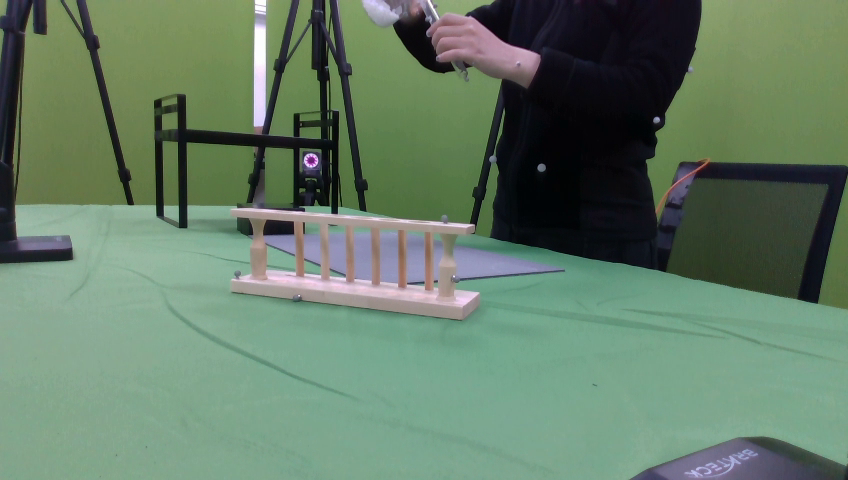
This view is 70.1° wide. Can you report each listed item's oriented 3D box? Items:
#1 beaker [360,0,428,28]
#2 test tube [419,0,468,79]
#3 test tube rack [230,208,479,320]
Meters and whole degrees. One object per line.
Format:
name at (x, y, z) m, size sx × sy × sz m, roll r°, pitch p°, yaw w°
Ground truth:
beaker at (-0.045, -0.390, 0.965) m, size 0.100 × 0.084 × 0.074 m, roll -22°, pitch -13°, yaw 35°
test tube at (0.029, -0.304, 0.910) m, size 0.017 × 0.150 × 0.017 m, roll -23°, pitch -17°, yaw -7°
test tube rack at (-0.069, 0.017, 0.598) m, size 0.242 × 0.085 × 0.067 m, roll 5°, pitch 8°, yaw 18°
